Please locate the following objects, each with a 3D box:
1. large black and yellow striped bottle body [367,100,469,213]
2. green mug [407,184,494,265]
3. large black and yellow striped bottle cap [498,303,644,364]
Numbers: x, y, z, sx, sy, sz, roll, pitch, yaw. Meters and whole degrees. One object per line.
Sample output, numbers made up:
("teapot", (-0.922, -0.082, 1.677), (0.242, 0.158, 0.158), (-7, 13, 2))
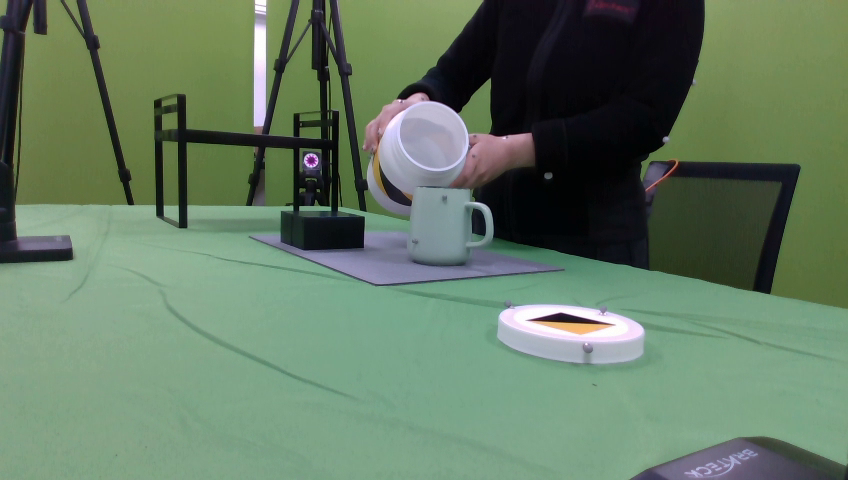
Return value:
("large black and yellow striped bottle body", (-0.011, -0.127, 0.936), (0.131, 0.130, 0.183), (0, -14, -16))
("green mug", (0.038, -0.021, 0.827), (0.125, 0.105, 0.093), (6, 8, 29))
("large black and yellow striped bottle cap", (0.117, 0.072, 0.486), (0.115, 0.019, 0.115), (1, 8, 0))
